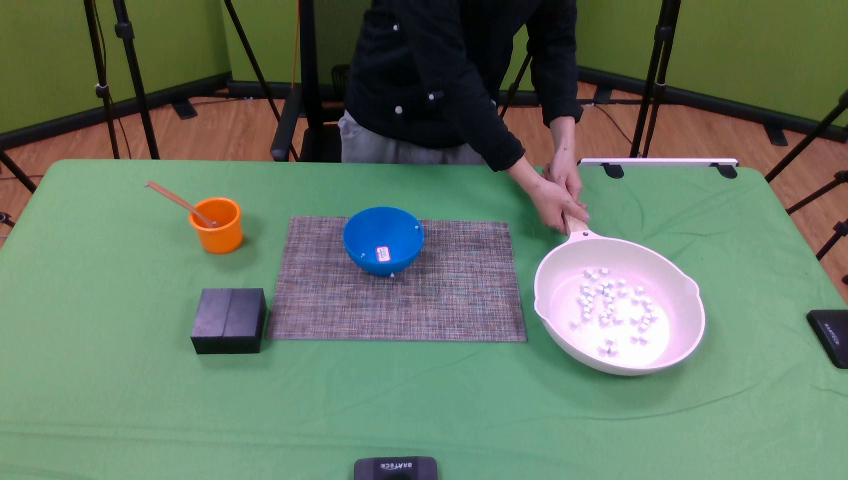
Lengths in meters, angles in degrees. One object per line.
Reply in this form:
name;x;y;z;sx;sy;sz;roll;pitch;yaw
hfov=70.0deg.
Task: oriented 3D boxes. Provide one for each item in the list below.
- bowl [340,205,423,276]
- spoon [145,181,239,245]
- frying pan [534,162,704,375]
bowl;-0.079;0.014;1.133;0.151;0.077;0.150;2;46;-2
spoon;-0.429;-0.052;1.126;0.021;0.195;0.041;-27;34;33
frying pan;0.314;0.034;1.133;0.307;0.103;0.484;-7;56;-12
